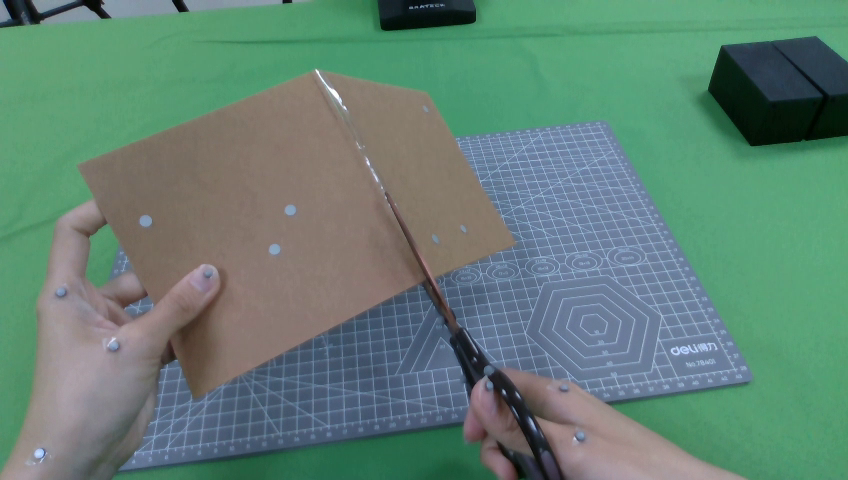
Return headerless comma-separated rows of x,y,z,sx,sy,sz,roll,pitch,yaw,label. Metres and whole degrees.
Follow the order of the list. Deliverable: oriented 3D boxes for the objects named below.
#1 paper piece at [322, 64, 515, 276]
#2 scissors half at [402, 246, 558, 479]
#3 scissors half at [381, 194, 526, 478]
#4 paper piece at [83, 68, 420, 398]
0.003,-0.047,0.395,0.138,0.008,0.135,-15,79,-61,paper piece
0.016,0.046,0.311,0.013,0.040,0.173,-28,56,-8,scissors half
0.016,0.053,0.335,0.013,0.175,0.040,-28,7,-12,scissors half
-0.087,-0.008,0.325,0.136,0.004,0.135,-26,91,-13,paper piece
